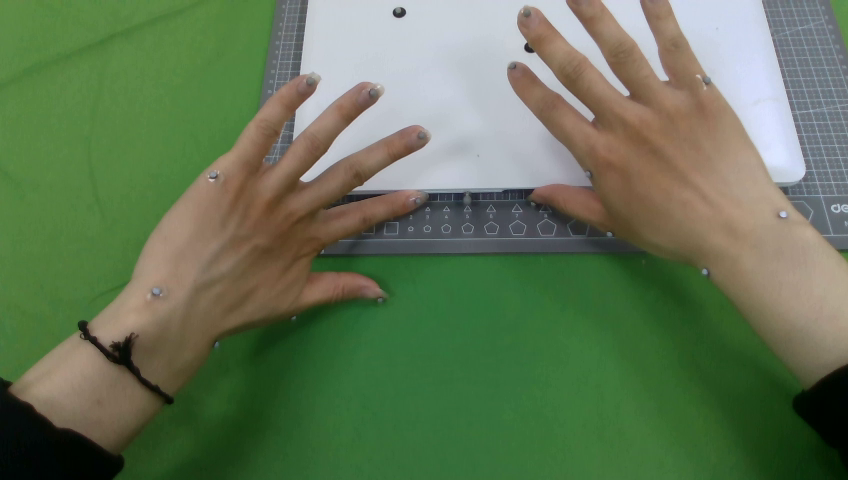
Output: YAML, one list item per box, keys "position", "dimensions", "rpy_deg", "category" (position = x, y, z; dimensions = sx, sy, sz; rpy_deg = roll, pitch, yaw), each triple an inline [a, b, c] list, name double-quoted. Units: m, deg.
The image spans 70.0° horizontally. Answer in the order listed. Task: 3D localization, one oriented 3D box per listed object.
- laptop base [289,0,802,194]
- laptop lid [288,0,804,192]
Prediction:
- position: [0.082, -0.139, 0.465]
  dimensions: [0.354, 0.023, 0.234]
  rpy_deg: [0, 69, 3]
  category: "laptop base"
- position: [0.081, -0.142, 0.454]
  dimensions: [0.356, 0.013, 0.240]
  rpy_deg: [1, 67, 4]
  category: "laptop lid"
